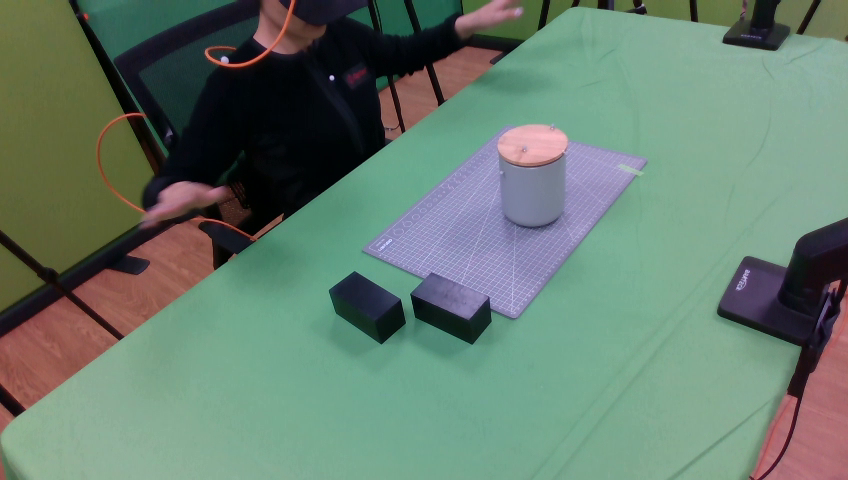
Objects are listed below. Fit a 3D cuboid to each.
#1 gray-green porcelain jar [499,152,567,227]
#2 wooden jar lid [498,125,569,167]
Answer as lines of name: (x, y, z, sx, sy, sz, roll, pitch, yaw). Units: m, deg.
gray-green porcelain jar: (0.177, -0.093, 0.974, 0.106, 0.127, 0.105, -5, 40, 5)
wooden jar lid: (0.168, -0.143, 0.933, 0.108, 0.021, 0.108, -5, 41, 4)
